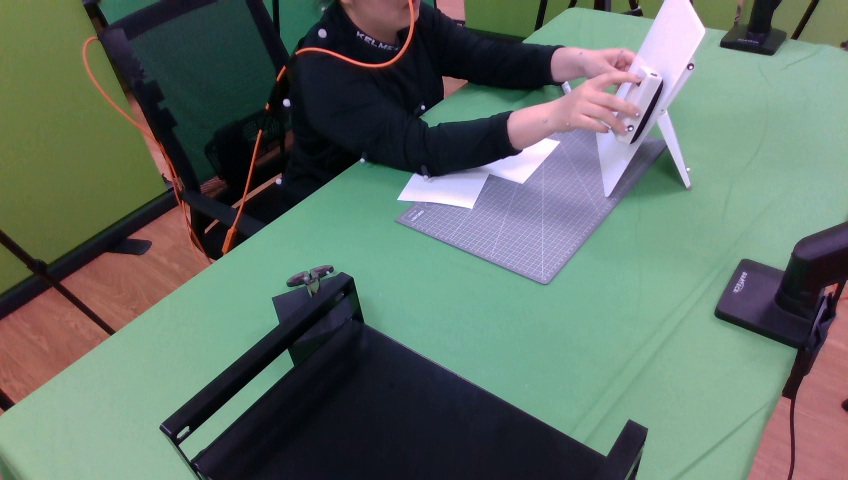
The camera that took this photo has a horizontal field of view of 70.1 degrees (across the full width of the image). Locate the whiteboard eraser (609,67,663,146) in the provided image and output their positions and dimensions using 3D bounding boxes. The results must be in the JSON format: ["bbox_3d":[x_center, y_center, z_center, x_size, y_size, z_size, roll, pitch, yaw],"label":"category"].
[{"bbox_3d":[0.331,-0.206,0.941,0.042,0.113,0.055,16,32,-4],"label":"whiteboard eraser"}]

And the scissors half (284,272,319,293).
[{"bbox_3d":[-0.172,0.063,0.868,0.040,0.013,0.174,-12,8,-21],"label":"scissors half"}]

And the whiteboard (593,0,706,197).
[{"bbox_3d":[0.421,-0.227,1.009,0.144,0.305,0.216,17,41,-3],"label":"whiteboard"}]

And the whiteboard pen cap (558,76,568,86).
[{"bbox_3d":[0.310,-0.350,1.340,0.018,0.018,0.033,-6,40,2],"label":"whiteboard pen cap"}]

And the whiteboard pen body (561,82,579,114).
[{"bbox_3d":[0.311,-0.311,1.298,0.017,0.017,0.140,-6,40,3],"label":"whiteboard pen body"}]

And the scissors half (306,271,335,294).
[{"bbox_3d":[-0.152,0.061,0.872,0.040,0.013,0.175,-4,6,-4],"label":"scissors half"}]
